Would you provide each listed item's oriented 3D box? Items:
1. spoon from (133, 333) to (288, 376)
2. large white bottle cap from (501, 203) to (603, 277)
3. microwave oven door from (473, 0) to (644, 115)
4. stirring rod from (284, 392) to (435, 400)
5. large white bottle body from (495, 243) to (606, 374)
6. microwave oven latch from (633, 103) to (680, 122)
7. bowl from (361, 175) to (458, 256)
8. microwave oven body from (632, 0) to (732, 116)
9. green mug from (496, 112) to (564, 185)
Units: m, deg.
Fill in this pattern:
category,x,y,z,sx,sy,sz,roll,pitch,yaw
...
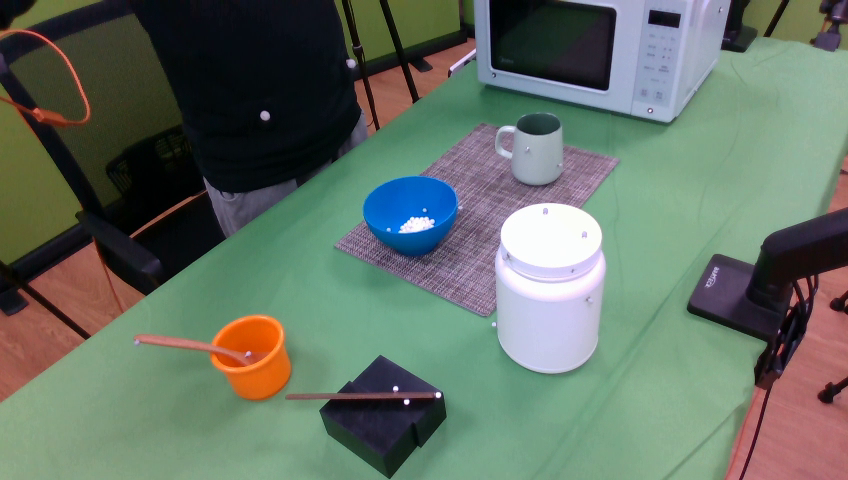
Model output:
category,x,y,z,sx,sy,sz,roll,pitch,yaw
spoon,-0.257,0.137,0.747,0.021,0.195,0.041,-46,40,23
large white bottle cap,0.146,-0.003,0.693,0.115,0.018,0.114,-4,41,4
microwave oven door,0.257,-0.396,1.199,0.353,0.245,0.039,21,48,29
stirring rod,-0.075,0.180,0.698,0.176,0.006,0.014,-2,6,6
large white bottle body,0.155,0.061,0.748,0.130,0.185,0.130,-4,40,4
microwave oven latch,0.443,-0.249,1.157,0.078,0.029,0.030,20,48,30
bowl,-0.019,-0.028,0.955,0.151,0.077,0.150,-4,40,4
microwave oven body,0.377,-0.462,1.267,0.438,0.261,0.327,21,48,30
green mug,0.184,-0.161,1.061,0.124,0.105,0.092,15,46,24
